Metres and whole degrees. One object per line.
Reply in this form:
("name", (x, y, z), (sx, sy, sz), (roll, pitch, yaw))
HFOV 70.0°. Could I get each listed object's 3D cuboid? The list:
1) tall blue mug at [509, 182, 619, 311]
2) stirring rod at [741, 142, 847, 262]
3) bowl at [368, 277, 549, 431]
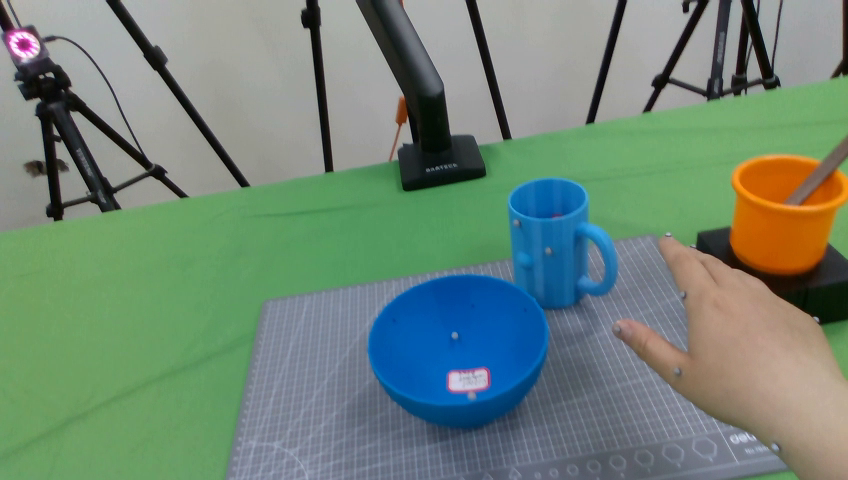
("tall blue mug", (0.141, 0.009, 0.602), (0.107, 0.109, 0.077), (5, 37, 21))
("stirring rod", (0.342, -0.049, 0.525), (0.176, 0.006, 0.014), (-52, 36, 15))
("bowl", (0.033, 0.108, 0.517), (0.151, 0.077, 0.150), (-7, 35, 5))
